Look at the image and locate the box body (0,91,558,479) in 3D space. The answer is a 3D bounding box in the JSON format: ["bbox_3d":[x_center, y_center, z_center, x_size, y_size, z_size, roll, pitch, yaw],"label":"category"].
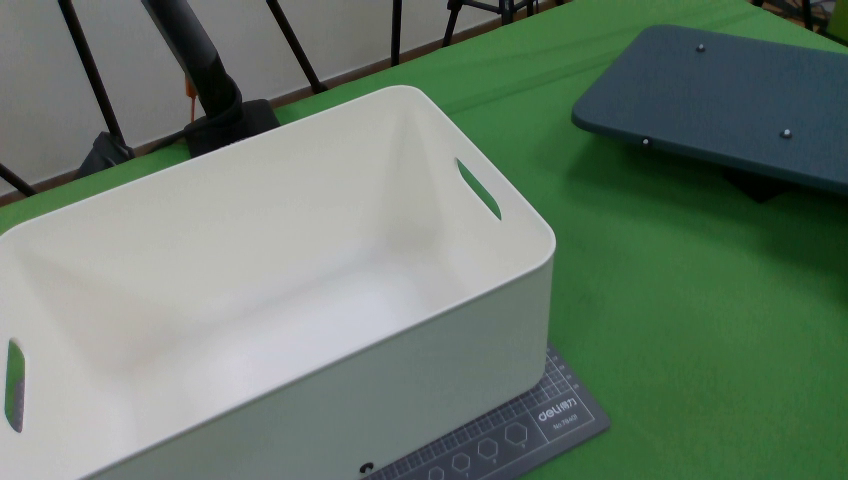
[{"bbox_3d":[-0.109,0.060,0.473,0.364,0.162,0.251,-24,45,-12],"label":"box body"}]

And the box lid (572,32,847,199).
[{"bbox_3d":[0.364,-0.135,0.616,0.368,0.015,0.262,21,47,28],"label":"box lid"}]
